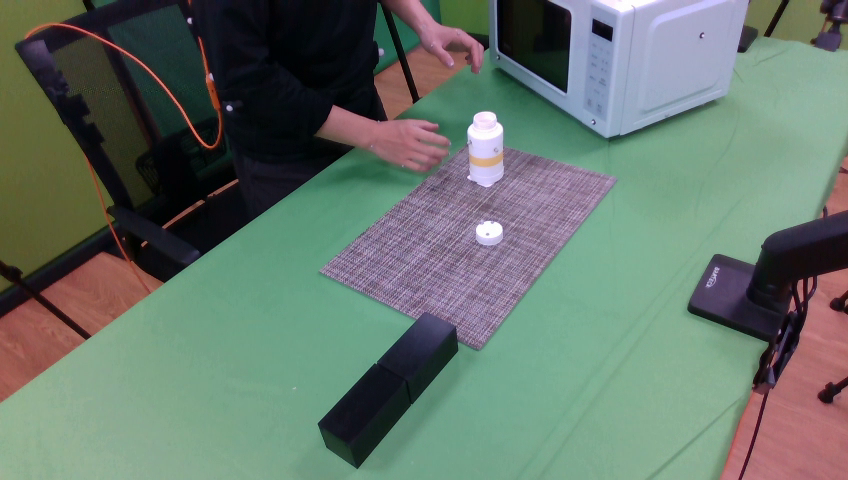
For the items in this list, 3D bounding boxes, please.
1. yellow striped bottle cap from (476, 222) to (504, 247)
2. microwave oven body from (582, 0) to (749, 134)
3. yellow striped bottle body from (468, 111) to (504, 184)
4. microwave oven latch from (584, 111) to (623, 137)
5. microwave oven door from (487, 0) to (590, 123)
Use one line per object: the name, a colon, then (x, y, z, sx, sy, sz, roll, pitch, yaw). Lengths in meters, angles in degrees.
yellow striped bottle cap: (0.105, -0.010, 0.966, 0.044, 0.019, 0.044, -4, 39, 3)
microwave oven body: (0.382, -0.444, 1.246, 0.327, 0.261, 0.437, -22, 42, -16)
yellow striped bottle body: (0.109, -0.164, 1.064, 0.063, 0.121, 0.062, -4, 41, 4)
microwave oven latch: (0.337, -0.222, 1.142, 0.030, 0.029, 0.078, -21, 42, -14)
microwave oven door: (0.231, -0.420, 1.230, 0.039, 0.245, 0.352, -22, 43, -16)
